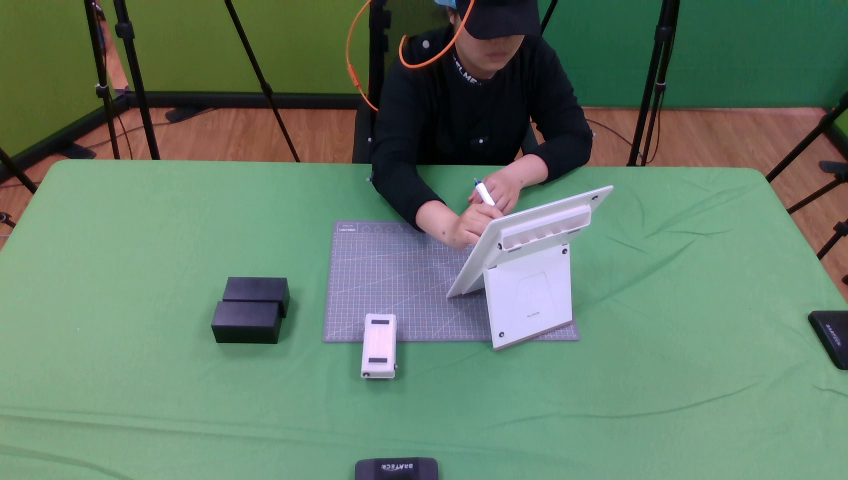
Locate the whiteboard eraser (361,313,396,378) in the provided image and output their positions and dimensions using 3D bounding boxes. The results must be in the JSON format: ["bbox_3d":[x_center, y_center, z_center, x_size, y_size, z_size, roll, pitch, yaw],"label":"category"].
[{"bbox_3d":[-0.075,0.176,1.006,0.055,0.042,0.112,3,50,-4],"label":"whiteboard eraser"}]

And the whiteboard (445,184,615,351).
[{"bbox_3d":[0.187,0.066,0.989,0.217,0.306,0.143,-15,68,-18],"label":"whiteboard"}]

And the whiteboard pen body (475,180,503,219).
[{"bbox_3d":[0.126,-0.043,1.041,0.017,0.017,0.140,-23,76,-24],"label":"whiteboard pen body"}]

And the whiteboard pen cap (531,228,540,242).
[{"bbox_3d":[0.225,-0.011,1.221,0.018,0.018,0.033,12,29,8],"label":"whiteboard pen cap"}]
